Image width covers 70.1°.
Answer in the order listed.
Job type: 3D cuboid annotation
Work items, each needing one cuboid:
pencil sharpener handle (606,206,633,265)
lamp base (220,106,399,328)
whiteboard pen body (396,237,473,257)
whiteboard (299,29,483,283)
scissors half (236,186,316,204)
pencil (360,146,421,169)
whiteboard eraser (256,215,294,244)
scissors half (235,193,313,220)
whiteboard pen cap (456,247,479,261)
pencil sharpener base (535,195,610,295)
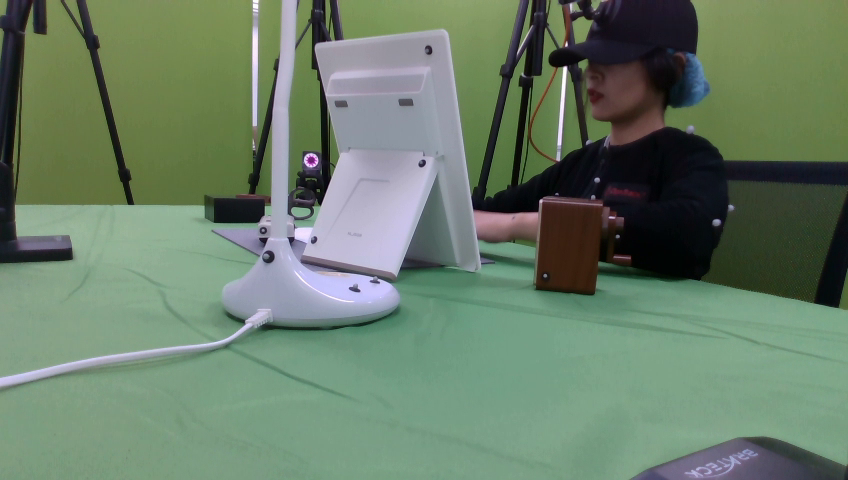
[{"bbox_3d":[0.223,-0.004,0.683,0.030,0.068,0.036,5,21,16],"label":"pencil sharpener handle"},{"bbox_3d":[-0.101,-0.023,0.531,0.160,0.180,0.179,4,10,10],"label":"lamp base"},{"bbox_3d":[0.014,0.012,0.886,0.140,0.017,0.017,10,10,38],"label":"whiteboard pen body"},{"bbox_3d":[-0.074,-0.082,0.742,0.216,0.305,0.144,9,30,38],"label":"whiteboard"},{"bbox_3d":[-0.320,-0.097,1.316,0.176,0.040,0.013,-3,11,-29],"label":"scissors half"},{"bbox_3d":[-0.061,-0.156,1.142,0.012,0.012,0.195,7,22,32],"label":"pencil"},{"bbox_3d":[-0.232,-0.016,0.951,0.056,0.042,0.112,2,7,-12],"label":"whiteboard eraser"},{"bbox_3d":[-0.325,-0.077,1.319,0.176,0.040,0.012,17,6,-31],"label":"scissors half"},{"bbox_3d":[0.060,0.020,0.851,0.033,0.018,0.018,10,10,37],"label":"whiteboard pen cap"},{"bbox_3d":[0.172,0.005,0.695,0.076,0.107,0.061,5,7,16],"label":"pencil sharpener base"}]
